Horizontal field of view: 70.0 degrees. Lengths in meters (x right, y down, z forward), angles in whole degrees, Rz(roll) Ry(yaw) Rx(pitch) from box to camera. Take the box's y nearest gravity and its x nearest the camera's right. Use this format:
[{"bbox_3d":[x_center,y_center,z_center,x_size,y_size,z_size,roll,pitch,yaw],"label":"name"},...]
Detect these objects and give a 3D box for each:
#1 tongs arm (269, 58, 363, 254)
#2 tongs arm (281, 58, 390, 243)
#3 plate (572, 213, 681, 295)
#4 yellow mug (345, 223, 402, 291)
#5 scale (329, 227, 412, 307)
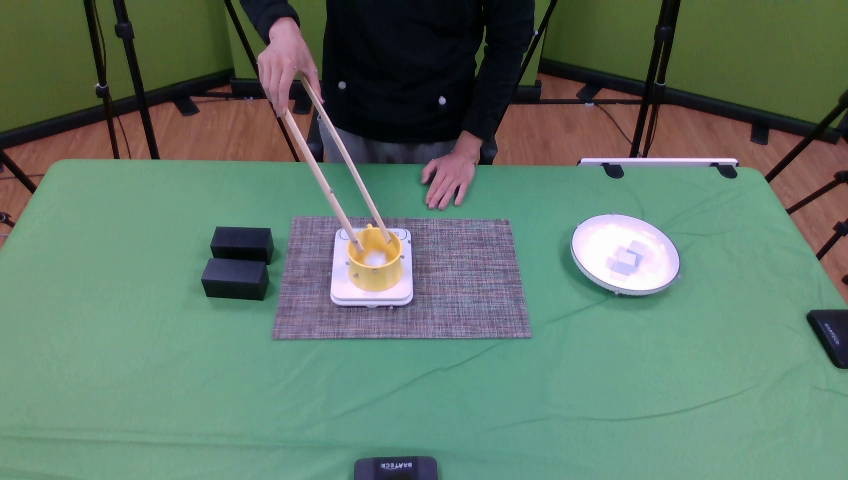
[{"bbox_3d":[-0.185,-0.151,1.064,0.051,0.026,0.384,-26,81,-26],"label":"tongs arm"},{"bbox_3d":[-0.156,-0.163,1.079,0.028,0.028,0.386,-26,80,-22],"label":"tongs arm"},{"bbox_3d":[0.392,0.030,1.189,0.208,0.039,0.206,2,46,-2],"label":"plate"},{"bbox_3d":[-0.092,0.022,1.093,0.100,0.064,0.130,-8,46,-10],"label":"yellow mug"},{"bbox_3d":[-0.098,0.042,1.139,0.149,0.032,0.199,1,46,-4],"label":"scale"}]
